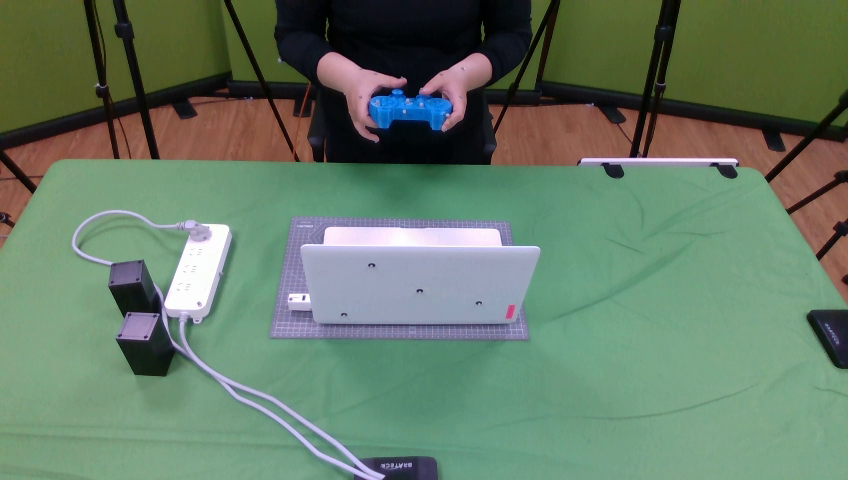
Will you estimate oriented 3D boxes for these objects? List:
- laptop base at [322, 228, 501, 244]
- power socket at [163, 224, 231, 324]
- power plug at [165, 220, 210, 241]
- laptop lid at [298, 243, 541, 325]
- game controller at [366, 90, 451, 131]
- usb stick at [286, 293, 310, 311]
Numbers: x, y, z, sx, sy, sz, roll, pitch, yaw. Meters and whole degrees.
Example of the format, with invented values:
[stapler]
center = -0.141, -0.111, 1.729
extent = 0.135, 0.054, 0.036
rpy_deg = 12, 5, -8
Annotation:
[laptop base]
center = -0.020, 0.063, 1.136
extent = 0.355, 0.023, 0.234
rpy_deg = 0, 43, -4
[power socket]
center = -0.411, 0.052, 1.107
extent = 0.072, 0.033, 0.225
rpy_deg = 3, 46, -3
[power plug]
center = -0.440, -0.016, 1.144
extent = 0.072, 0.053, 0.035
rpy_deg = 8, 46, 9
[laptop lid]
center = -0.010, 0.076, 0.958
extent = 0.357, 0.243, 0.013
rpy_deg = 1, 53, -5
[game controller]
center = -0.026, -0.236, 1.076
extent = 0.155, 0.052, 0.096
rpy_deg = 1, 38, -3
[usb stick]
center = -0.210, 0.109, 1.059
extent = 0.059, 0.027, 0.021
rpy_deg = 4, 44, -6
